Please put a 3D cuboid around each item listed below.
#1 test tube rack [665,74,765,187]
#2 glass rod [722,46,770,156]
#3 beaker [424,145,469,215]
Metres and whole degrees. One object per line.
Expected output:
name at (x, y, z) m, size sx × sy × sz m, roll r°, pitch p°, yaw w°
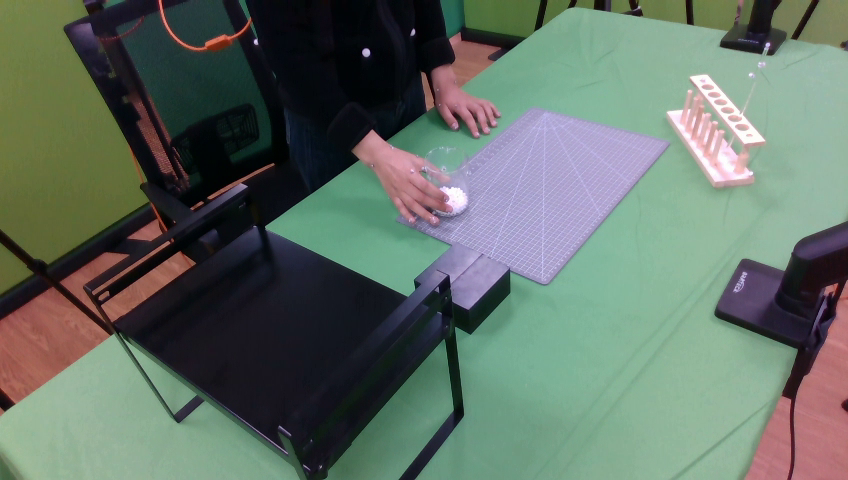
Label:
test tube rack at (0.512, -0.201, 1.082) m, size 0.067 × 0.085 × 0.241 m, roll -6°, pitch 41°, yaw 2°
glass rod at (0.533, -0.226, 1.006) m, size 0.008 × 0.200 × 0.008 m, roll 1°, pitch 41°, yaw -1°
beaker at (0.040, -0.100, 1.015) m, size 0.074 × 0.101 × 0.083 m, roll -1°, pitch 44°, yaw 4°
